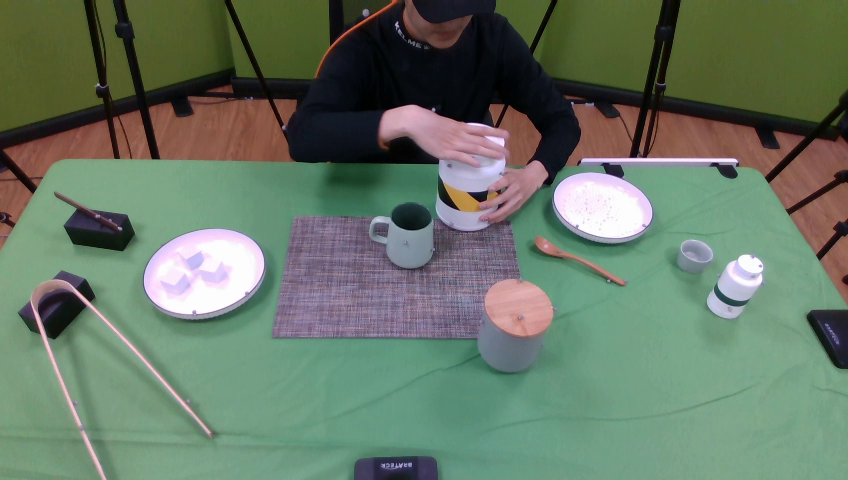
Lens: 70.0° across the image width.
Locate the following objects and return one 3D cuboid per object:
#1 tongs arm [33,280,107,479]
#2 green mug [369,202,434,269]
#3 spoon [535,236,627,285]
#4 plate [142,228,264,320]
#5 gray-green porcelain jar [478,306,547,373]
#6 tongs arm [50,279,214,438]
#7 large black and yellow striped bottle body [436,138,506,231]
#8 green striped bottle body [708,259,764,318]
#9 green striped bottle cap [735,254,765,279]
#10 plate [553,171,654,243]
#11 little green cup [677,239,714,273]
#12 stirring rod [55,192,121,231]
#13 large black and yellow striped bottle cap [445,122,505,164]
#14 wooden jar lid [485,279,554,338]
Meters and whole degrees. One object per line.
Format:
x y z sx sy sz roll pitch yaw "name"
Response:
-0.517 0.214 0.909 0.051 0.026 0.383 -29 63 -26 "tongs arm"
-0.042 -0.010 1.140 0.125 0.105 0.092 8 47 4 "green mug"
0.304 0.040 1.178 0.193 0.022 0.041 25 33 19 "spoon"
-0.394 0.064 1.095 0.208 0.039 0.206 2 46 -2 "plate"
0.144 0.148 0.989 0.106 0.127 0.105 2 50 -2 "gray-green porcelain jar"
-0.459 0.178 0.949 0.386 0.028 0.028 38 60 17 "tongs arm"
0.093 -0.124 1.207 0.131 0.185 0.130 2 42 -1 "large black and yellow striped bottle body"
0.563 0.081 1.089 0.063 0.120 0.063 2 46 -2 "green striped bottle body"
0.566 0.046 1.051 0.044 0.020 0.044 1 45 0 "green striped bottle cap"
0.373 -0.066 1.274 0.209 0.038 0.208 2 46 -2 "plate"
0.530 0.033 1.189 0.061 0.039 0.061 2 48 -2 "little green cup"
-0.632 -0.055 1.138 0.175 0.014 0.006 24 50 19 "stirring rod"
0.097 -0.186 1.151 0.115 0.019 0.114 1 44 -1 "large black and yellow striped bottle cap"
0.147 0.108 0.940 0.108 0.021 0.107 4 47 -5 "wooden jar lid"
